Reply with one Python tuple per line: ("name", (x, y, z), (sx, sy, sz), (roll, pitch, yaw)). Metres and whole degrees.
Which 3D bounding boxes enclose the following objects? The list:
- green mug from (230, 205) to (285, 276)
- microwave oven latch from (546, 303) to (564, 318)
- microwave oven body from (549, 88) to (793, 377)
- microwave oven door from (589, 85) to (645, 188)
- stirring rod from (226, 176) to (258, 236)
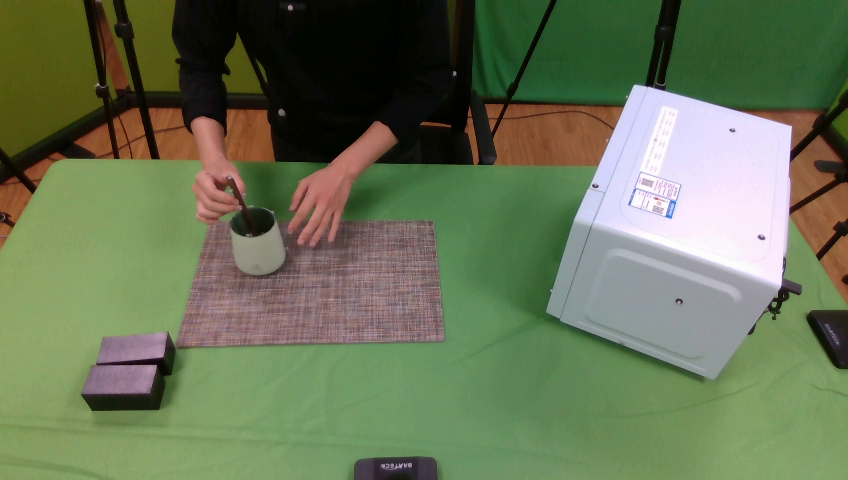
("green mug", (-0.311, -0.008, 1.118), (0.092, 0.105, 0.124), (-14, 49, -16))
("microwave oven latch", (0.242, 0.102, 1.081), (0.030, 0.029, 0.079), (22, 48, 17))
("microwave oven body", (0.456, -0.028, 1.087), (0.325, 0.261, 0.440), (20, 47, 16))
("microwave oven door", (0.342, -0.107, 1.148), (0.039, 0.245, 0.354), (20, 48, 15))
("stirring rod", (-0.310, -0.053, 1.041), (0.014, 0.177, 0.006), (22, 61, 14))
